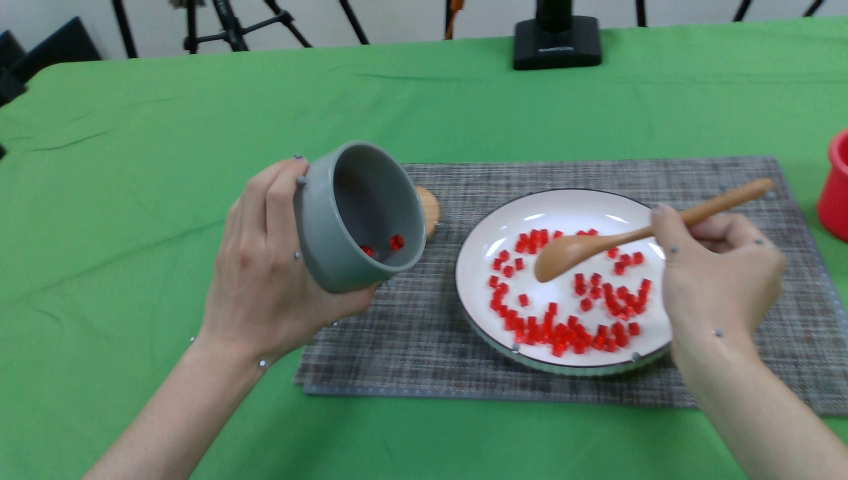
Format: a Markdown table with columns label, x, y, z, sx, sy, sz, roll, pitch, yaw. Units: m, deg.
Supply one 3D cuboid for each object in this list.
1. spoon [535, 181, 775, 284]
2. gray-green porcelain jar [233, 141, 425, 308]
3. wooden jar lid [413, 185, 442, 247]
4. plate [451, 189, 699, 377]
| label | x | y | z | sx | sy | sz | roll | pitch | yaw |
| --- | --- | --- | --- | --- | --- | --- | --- | --- | --- |
| spoon | 0.165 | -0.005 | 0.464 | 0.193 | 0.022 | 0.041 | -21 | 38 | 34 |
| gray-green porcelain jar | -0.080 | -0.006 | 0.485 | 0.126 | 0.107 | 0.105 | -21 | 36 | 34 |
| wooden jar lid | -0.035 | -0.019 | 0.635 | 0.108 | 0.021 | 0.107 | -4 | 44 | 5 |
| plate | 0.129 | 0.036 | 0.537 | 0.207 | 0.039 | 0.205 | -5 | 45 | 5 |
